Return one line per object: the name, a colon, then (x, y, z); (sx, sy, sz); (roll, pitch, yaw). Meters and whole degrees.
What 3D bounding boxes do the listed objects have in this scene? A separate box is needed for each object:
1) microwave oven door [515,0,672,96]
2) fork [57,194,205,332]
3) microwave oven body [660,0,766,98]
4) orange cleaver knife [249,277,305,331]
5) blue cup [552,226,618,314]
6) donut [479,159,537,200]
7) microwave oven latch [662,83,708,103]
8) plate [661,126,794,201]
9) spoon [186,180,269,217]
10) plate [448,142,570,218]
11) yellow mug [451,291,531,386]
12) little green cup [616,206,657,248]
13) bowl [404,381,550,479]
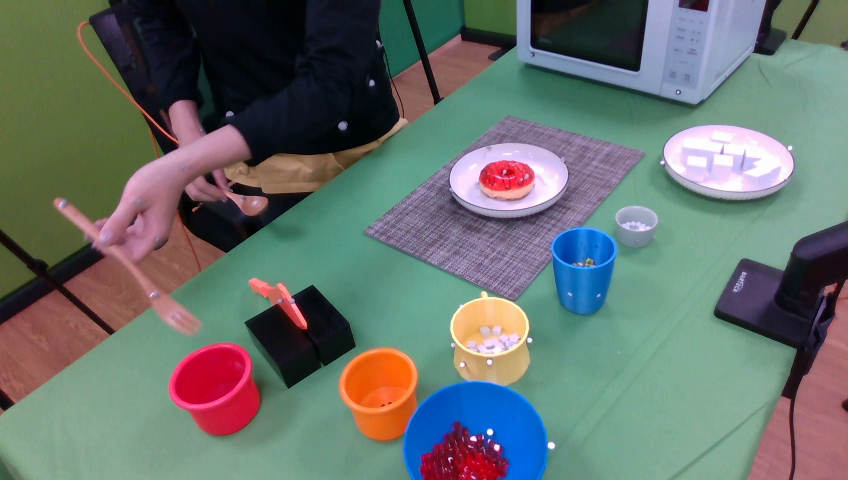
microwave oven door: (0.344, -0.455, 1.259); (0.353, 0.245, 0.039); (26, 51, 33)
fork: (-0.325, 0.027, 0.672); (0.018, 0.208, 0.028); (-30, 16, 37)
microwave oven body: (0.473, -0.514, 1.317); (0.438, 0.261, 0.327); (26, 51, 34)
orange cleaver knife: (-0.210, 0.088, 0.856); (0.012, 0.077, 0.210); (-28, 15, -25)
blue cup: (0.218, 0.047, 0.826); (0.092, 0.101, 0.092); (-6, 40, 5)
donut: (0.145, -0.106, 1.042); (0.099, 0.048, 0.098); (-4, 37, 4)
microwave oven latch: (0.518, -0.297, 1.204); (0.078, 0.029, 0.030); (28, 52, 35)
plate: (0.513, -0.127, 1.035); (0.207, 0.039, 0.206); (-4, 40, 4)
spoon: (-0.335, -0.077, 1.022); (0.192, 0.022, 0.041); (20, 69, 23)
plate: (0.148, -0.101, 1.053); (0.209, 0.038, 0.208); (-4, 40, 4)
yellow mug: (0.085, 0.120, 0.786); (0.100, 0.064, 0.130); (-7, 39, 1)
little green cup: (0.327, -0.019, 0.935); (0.061, 0.039, 0.061); (-4, 40, 4)
bowl: (0.058, 0.235, 0.645); (0.151, 0.077, 0.150); (-4, 39, 4)
